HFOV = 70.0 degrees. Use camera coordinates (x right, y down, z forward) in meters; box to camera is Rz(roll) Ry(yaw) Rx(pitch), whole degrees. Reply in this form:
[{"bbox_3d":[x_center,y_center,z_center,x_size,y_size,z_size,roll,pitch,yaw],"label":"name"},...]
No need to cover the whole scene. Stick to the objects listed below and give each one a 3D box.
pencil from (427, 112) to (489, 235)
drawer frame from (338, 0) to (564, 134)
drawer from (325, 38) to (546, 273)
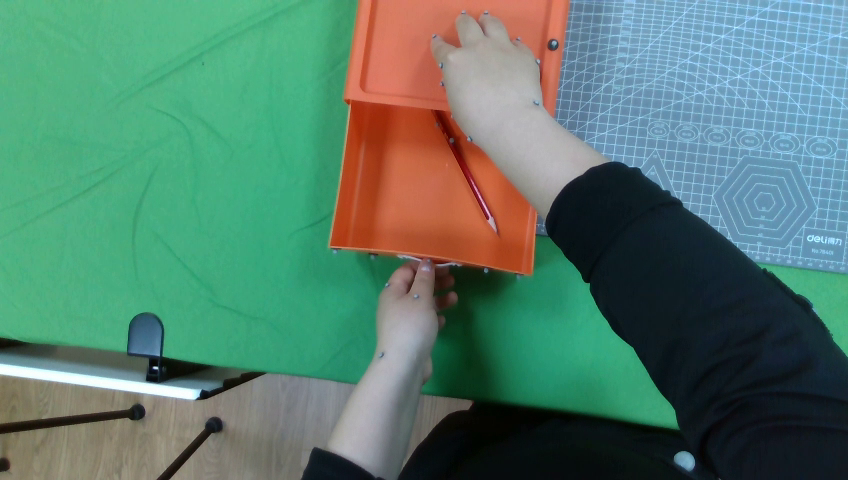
[{"bbox_3d":[0.025,-0.093,0.621,0.012,0.012,0.193,-25,86,6],"label":"pencil"},{"bbox_3d":[0.033,-0.220,0.596,0.201,0.083,0.213,7,89,8],"label":"drawer frame"},{"bbox_3d":[0.017,-0.079,0.595,0.194,0.073,0.211,7,88,7],"label":"drawer"}]
